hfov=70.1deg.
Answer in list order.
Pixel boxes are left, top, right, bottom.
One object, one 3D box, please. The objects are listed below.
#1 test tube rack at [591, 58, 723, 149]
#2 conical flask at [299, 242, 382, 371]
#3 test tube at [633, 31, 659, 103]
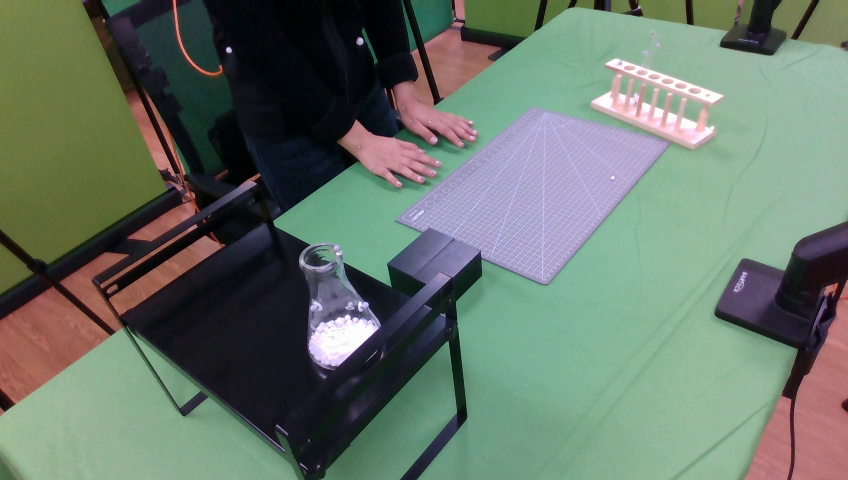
[{"bbox_3d":[0.442,-0.269,1.171,0.067,0.085,0.240,-30,46,-24],"label":"test tube rack"},{"bbox_3d":[-0.085,0.059,0.565,0.075,0.122,0.075,-5,41,4],"label":"conical flask"},{"bbox_3d":[0.427,-0.331,1.169,0.017,0.151,0.017,0,47,1],"label":"test tube"}]
